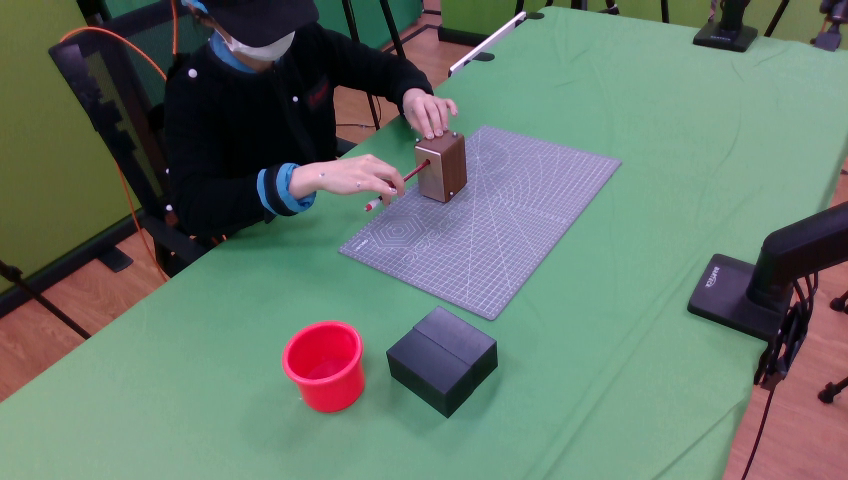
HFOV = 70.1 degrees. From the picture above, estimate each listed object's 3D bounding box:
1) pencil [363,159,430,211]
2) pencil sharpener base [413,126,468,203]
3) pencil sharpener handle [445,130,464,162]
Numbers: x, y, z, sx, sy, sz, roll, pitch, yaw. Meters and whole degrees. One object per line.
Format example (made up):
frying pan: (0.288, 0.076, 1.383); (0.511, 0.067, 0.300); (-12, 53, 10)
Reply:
pencil: (-0.031, -0.100, 0.978); (0.012, 0.012, 0.194); (24, 48, 31)
pencil sharpener base: (0.032, -0.132, 1.047); (0.061, 0.107, 0.077); (21, 48, 30)
pencil sharpener handle: (0.059, -0.171, 1.070); (0.036, 0.068, 0.031); (26, 50, 25)
